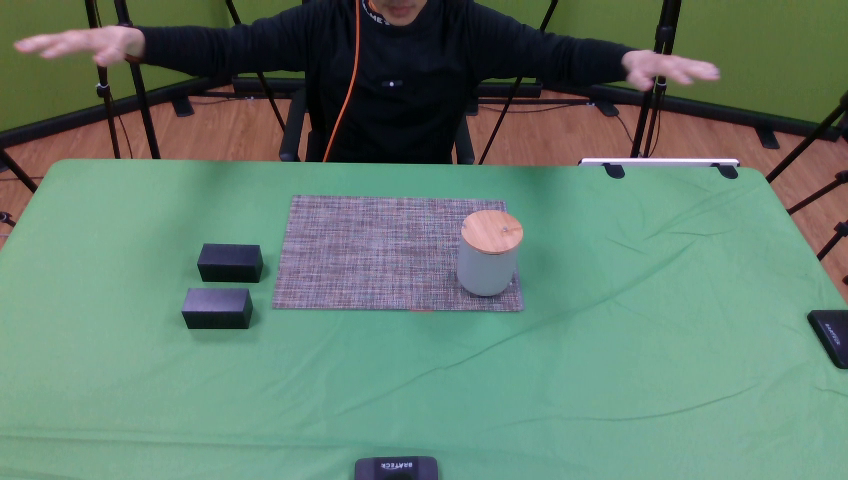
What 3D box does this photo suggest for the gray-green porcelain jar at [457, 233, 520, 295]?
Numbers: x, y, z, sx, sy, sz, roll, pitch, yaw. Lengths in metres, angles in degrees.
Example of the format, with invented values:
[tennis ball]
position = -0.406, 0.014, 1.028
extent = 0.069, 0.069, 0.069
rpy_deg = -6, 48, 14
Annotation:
[gray-green porcelain jar]
position = 0.115, 0.030, 1.099
extent = 0.106, 0.127, 0.105
rpy_deg = 2, 46, -2

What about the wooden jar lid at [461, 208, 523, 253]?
[wooden jar lid]
position = 0.118, -0.013, 1.054
extent = 0.108, 0.021, 0.107
rpy_deg = 0, 44, 0
